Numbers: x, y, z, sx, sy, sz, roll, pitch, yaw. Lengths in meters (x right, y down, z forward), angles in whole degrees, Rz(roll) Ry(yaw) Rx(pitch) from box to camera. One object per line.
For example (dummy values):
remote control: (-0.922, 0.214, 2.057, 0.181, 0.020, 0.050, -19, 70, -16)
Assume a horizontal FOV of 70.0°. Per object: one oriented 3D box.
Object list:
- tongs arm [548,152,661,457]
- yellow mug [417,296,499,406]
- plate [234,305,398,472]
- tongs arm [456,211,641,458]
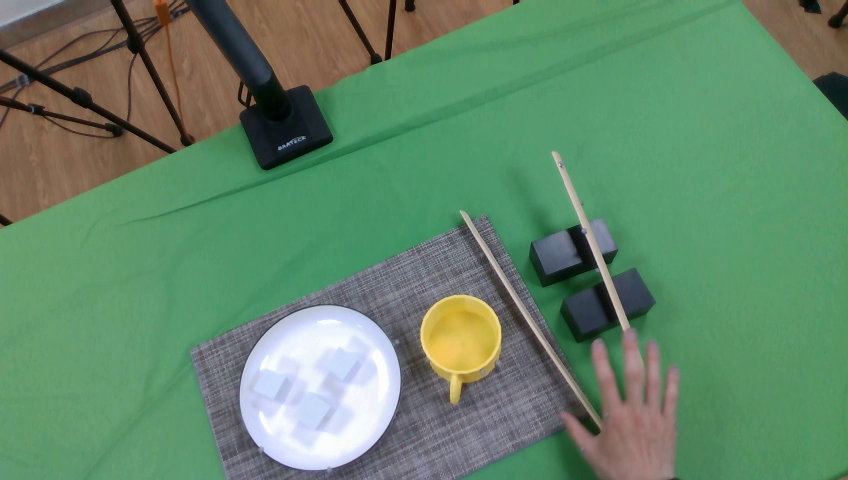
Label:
tongs arm: (0.211, 0.068, 0.748, 0.051, 0.027, 0.382, -26, 71, 22)
yellow mug: (0.042, 0.141, 0.758, 0.100, 0.064, 0.130, 5, 69, 7)
plate: (-0.134, 0.187, 0.774, 0.207, 0.039, 0.206, -2, 68, 5)
tongs arm: (0.146, 0.109, 0.779, 0.028, 0.028, 0.384, -38, 67, 13)
